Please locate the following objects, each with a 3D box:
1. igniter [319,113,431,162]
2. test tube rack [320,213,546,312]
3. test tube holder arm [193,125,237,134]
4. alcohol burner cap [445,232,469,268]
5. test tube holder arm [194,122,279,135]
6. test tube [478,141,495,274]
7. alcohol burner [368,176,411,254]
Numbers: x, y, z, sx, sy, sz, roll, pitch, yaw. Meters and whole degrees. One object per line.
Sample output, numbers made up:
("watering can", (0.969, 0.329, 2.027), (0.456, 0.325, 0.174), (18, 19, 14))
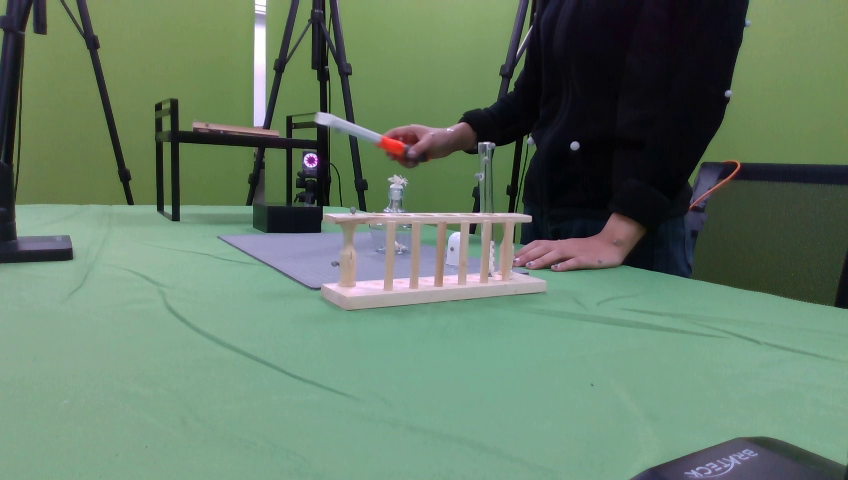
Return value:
("igniter", (-0.077, -0.177, 1.065), (0.057, 0.025, 0.278), (16, 3, 34))
("test tube rack", (0.018, 0.017, 0.638), (0.244, 0.085, 0.066), (-2, 9, -31))
("test tube holder arm", (-0.443, -0.235, 1.284), (0.088, 0.015, 0.010), (-2, -21, -28))
("alcohol burner cap", (0.045, 0.013, 0.829), (0.034, 0.048, 0.034), (2, 8, 0))
("test tube holder arm", (-0.401, -0.238, 1.301), (0.179, 0.015, 0.013), (-2, -21, -29))
("test tube", (0.071, -0.036, 0.683), (0.017, 0.150, 0.017), (-2, 8, 1))
("alcohol burner", (-0.045, -0.038, 0.913), (0.078, 0.119, 0.078), (4, 7, 0))
